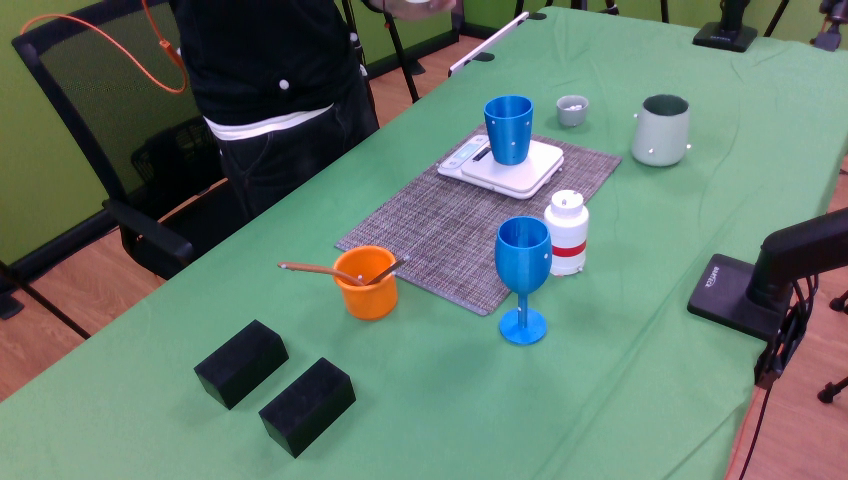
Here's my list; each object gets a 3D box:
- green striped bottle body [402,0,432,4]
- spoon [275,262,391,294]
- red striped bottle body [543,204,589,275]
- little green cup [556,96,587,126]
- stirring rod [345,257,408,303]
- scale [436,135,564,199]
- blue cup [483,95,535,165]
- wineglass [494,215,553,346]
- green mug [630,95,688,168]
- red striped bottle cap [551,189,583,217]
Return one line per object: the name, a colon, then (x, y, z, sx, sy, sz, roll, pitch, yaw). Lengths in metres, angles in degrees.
green striped bottle body: (-0.014, -0.422, 0.902, 0.063, 0.120, 0.063, -5, 48, 6)
spoon: (-0.120, 0.050, 0.830, 0.041, 0.195, 0.021, 32, 97, 45)
red striped bottle body: (0.206, -0.011, 0.877, 0.063, 0.120, 0.062, -5, 41, 4)
little green cup: (0.295, -0.258, 1.214, 0.061, 0.039, 0.061, -4, 42, 4)
stirring rod: (-0.067, 0.057, 0.815, 0.014, 0.175, 0.006, -24, 82, -38)
scale: (0.137, -0.142, 1.101, 0.199, 0.032, 0.149, 22, 48, 30)
blue cup: (0.148, -0.188, 1.053, 0.092, 0.100, 0.092, -6, 39, 5)
wineglass: (0.127, 0.055, 0.770, 0.074, 0.173, 0.073, -4, 40, 4)
green mug: (0.421, -0.201, 1.081, 0.092, 0.105, 0.125, 5, 42, 15)
red striped bottle cap: (0.200, -0.052, 0.843, 0.044, 0.018, 0.044, -2, 42, 2)
